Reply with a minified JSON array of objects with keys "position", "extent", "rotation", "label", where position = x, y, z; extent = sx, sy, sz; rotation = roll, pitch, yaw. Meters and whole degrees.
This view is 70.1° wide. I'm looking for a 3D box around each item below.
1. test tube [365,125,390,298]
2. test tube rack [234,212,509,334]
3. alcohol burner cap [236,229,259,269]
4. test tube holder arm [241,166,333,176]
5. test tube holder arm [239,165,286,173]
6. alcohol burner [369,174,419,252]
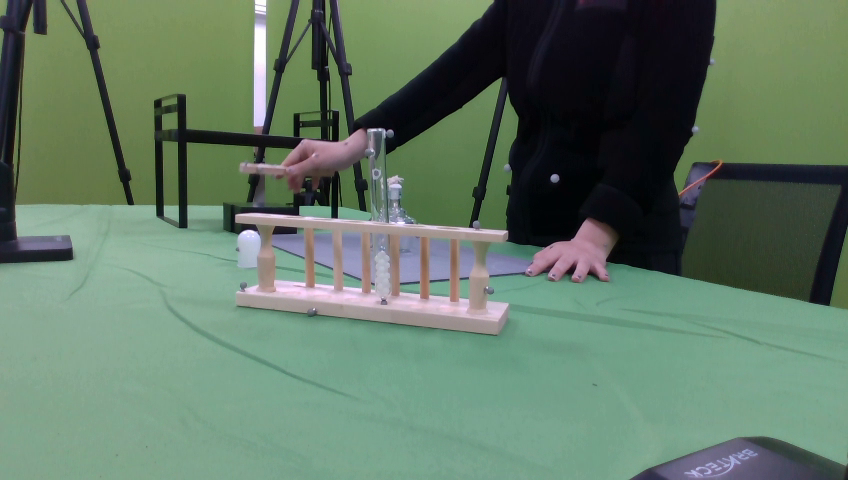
[{"position":[-0.040,-0.023,0.523],"extent":[0.017,0.150,0.017],"rotation":[-2,8,1],"label":"test tube"},{"position":[-0.046,0.023,0.547],"extent":[0.242,0.085,0.067],"rotation":[4,7,15],"label":"test tube rack"},{"position":[-0.220,0.010,0.759],"extent":[0.034,0.048,0.034],"rotation":[0,12,0],"label":"alcohol burner cap"},{"position":[-0.240,-0.123,1.079],"extent":[0.179,0.015,0.013],"rotation":[-4,21,-40],"label":"test tube holder arm"},{"position":[-0.279,-0.122,1.054],"extent":[0.088,0.015,0.010],"rotation":[-3,21,-39],"label":"test tube holder arm"},{"position":[-0.046,-0.041,0.922],"extent":[0.078,0.119,0.078],"rotation":[1,9,0],"label":"alcohol burner"}]
